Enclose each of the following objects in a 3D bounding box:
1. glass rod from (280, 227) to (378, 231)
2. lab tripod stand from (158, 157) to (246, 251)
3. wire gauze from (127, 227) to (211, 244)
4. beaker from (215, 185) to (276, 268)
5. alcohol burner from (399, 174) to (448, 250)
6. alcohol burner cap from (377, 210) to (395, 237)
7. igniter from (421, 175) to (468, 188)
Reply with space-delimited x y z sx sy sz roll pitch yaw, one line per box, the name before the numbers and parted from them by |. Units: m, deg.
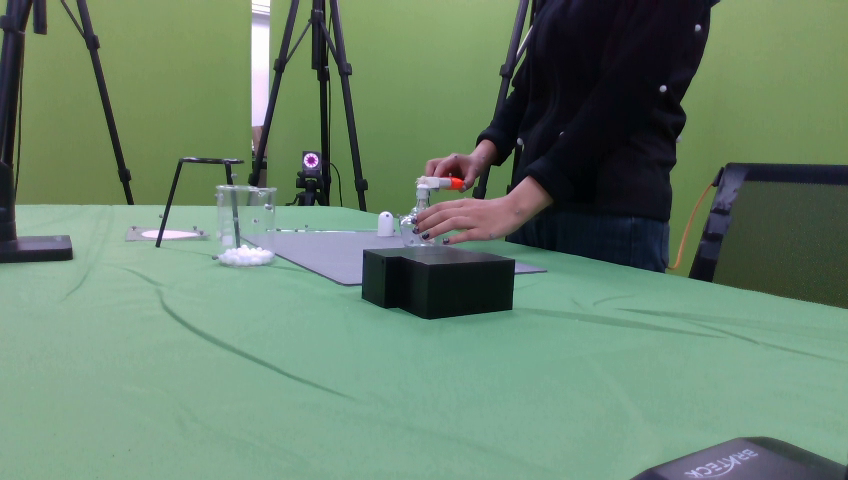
glass rod | -0.175 -0.021 1.161 0.200 0.008 0.008 0 7 -15
lab tripod stand | -0.314 -0.055 0.891 0.148 0.131 0.148 2 9 0
wire gauze | -0.420 -0.010 0.999 0.122 0.011 0.124 -2 10 -24
beaker | -0.226 -0.019 0.773 0.074 0.100 0.084 5 7 14
alcohol burner | -0.001 -0.044 0.962 0.078 0.119 0.078 0 8 0
alcohol burner cap | -0.069 -0.031 1.112 0.034 0.048 0.034 2 8 0
igniter | 0.041 -0.106 1.101 0.057 0.025 0.277 2 5 13
